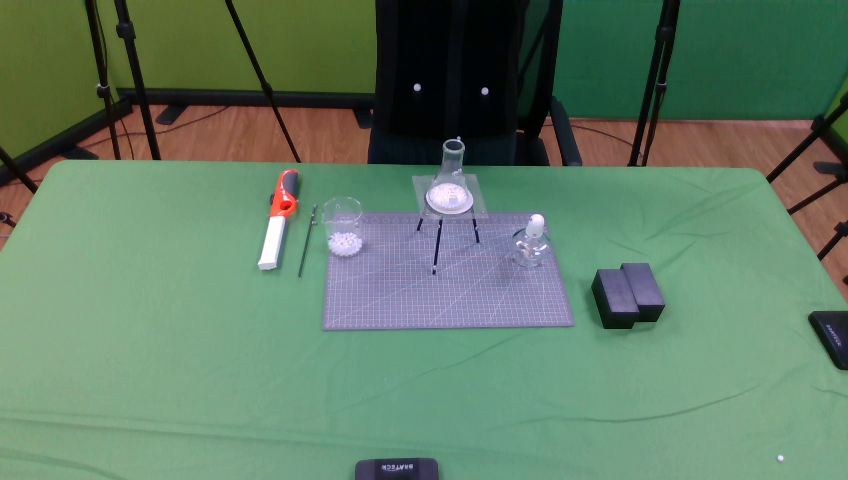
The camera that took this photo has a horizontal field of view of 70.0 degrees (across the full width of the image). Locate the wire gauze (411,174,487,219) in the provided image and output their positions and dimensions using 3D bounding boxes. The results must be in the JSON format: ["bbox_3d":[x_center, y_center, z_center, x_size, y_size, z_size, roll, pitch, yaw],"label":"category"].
[{"bbox_3d":[0.044,-0.079,1.107,0.125,0.011,0.120,-4,44,-6],"label":"wire gauze"}]

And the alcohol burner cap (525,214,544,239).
[{"bbox_3d":[0.208,-0.027,1.126,0.034,0.048,0.033,1,54,-1],"label":"alcohol burner cap"}]

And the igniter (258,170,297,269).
[{"bbox_3d":[-0.294,-0.049,1.221,0.057,0.025,0.275,-5,45,4],"label":"igniter"}]

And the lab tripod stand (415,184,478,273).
[{"bbox_3d":[0.042,-0.031,1.152,0.148,0.132,0.147,3,44,-3],"label":"lab tripod stand"}]

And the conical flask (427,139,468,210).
[{"bbox_3d":[0.046,-0.117,1.061,0.075,0.122,0.075,3,46,-2],"label":"conical flask"}]

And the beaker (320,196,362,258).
[{"bbox_3d":[-0.156,-0.021,1.150,0.084,0.101,0.073,-30,55,-28],"label":"beaker"}]

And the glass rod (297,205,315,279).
[{"bbox_3d":[-0.232,0.000,1.191,0.008,0.008,0.198,3,46,-1],"label":"glass rod"}]

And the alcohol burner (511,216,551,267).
[{"bbox_3d":[0.206,-0.004,1.153,0.078,0.120,0.077,2,48,-2],"label":"alcohol burner"}]
